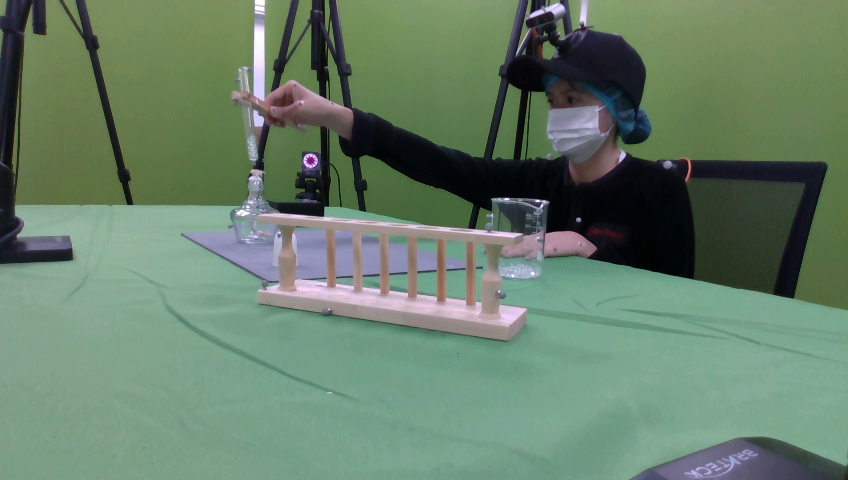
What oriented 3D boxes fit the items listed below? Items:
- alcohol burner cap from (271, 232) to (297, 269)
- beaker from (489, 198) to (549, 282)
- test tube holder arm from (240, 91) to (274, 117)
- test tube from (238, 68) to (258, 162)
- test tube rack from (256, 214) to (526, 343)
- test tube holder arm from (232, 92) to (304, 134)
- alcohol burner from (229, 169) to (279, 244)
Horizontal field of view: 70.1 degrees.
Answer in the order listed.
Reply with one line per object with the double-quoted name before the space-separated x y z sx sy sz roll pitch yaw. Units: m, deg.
"alcohol burner cap" -0.175 0.012 0.760 0.034 0.048 0.034 2 8 0
"beaker" 0.120 -0.001 0.768 0.074 0.100 0.083 -1 9 -25
"test tube holder arm" -0.269 -0.219 0.978 0.010 0.015 0.088 -4 -9 15
"test tube" -0.278 -0.198 0.957 0.017 0.150 0.017 -7 -3 0
"test tube rack" -0.032 0.027 0.547 0.241 0.085 0.067 6 7 22
"test tube holder arm" -0.258 -0.212 1.021 0.013 0.015 0.179 -4 -9 23
"alcohol burner" -0.268 -0.053 0.958 0.078 0.119 0.078 2 5 0
